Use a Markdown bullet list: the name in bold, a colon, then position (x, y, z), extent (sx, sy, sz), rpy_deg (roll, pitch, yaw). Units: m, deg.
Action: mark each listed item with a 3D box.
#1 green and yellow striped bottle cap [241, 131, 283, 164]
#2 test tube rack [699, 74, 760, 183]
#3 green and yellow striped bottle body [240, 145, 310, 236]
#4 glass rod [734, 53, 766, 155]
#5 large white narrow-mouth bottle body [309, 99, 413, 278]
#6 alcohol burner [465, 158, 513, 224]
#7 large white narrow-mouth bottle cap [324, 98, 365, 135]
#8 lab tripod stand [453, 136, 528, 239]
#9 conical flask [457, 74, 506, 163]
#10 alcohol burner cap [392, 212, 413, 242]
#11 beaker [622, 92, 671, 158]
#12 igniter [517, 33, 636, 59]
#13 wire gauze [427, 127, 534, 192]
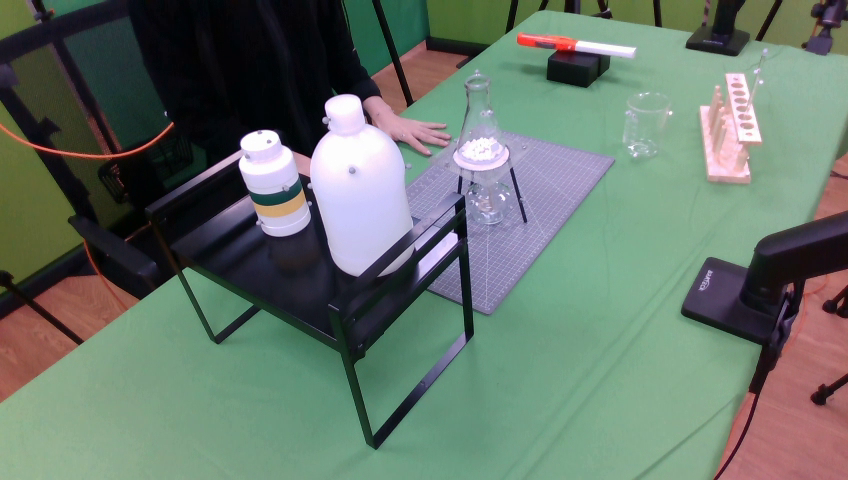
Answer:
- **green and yellow striped bottle cap**: position (-0.187, -0.107, 0.695), extent (0.045, 0.020, 0.045), rpy_deg (-3, 39, 3)
- **test tube rack**: position (0.547, -0.208, 1.095), extent (0.066, 0.085, 0.242), rpy_deg (6, 42, 16)
- **green and yellow striped bottle body**: position (-0.181, -0.069, 0.729), extent (0.063, 0.120, 0.063), rpy_deg (-4, 40, 4)
- **glass rod**: position (0.541, -0.220, 1.007), extent (0.008, 0.201, 0.008), rpy_deg (-5, 45, 6)
- **large white narrow-mouth bottle body**: position (-0.068, -0.057, 0.645), extent (0.102, 0.195, 0.101), rpy_deg (-3, 42, 4)
- **alcohol burner**: position (0.105, -0.085, 0.987), extent (0.078, 0.119, 0.077), rpy_deg (-5, 43, 5)
- **large white narrow-mouth bottle cap**: position (-0.076, -0.120, 0.585), extent (0.038, 0.024, 0.037), rpy_deg (-3, 42, 3)
- **lab tripod stand**: position (0.095, -0.086, 0.974), extent (0.148, 0.132, 0.147), rpy_deg (-4, 43, 4)
- **conical flask**: position (0.082, -0.181, 0.893), extent (0.075, 0.122, 0.075), rpy_deg (-4, 41, 4)
- **alcohol burner cap**: position (-0.037, -0.023, 0.990), extent (0.034, 0.048, 0.033), rpy_deg (-5, 40, 5)
- **beaker**: position (0.402, -0.209, 1.106), extent (0.074, 0.101, 0.083), rpy_deg (-9, 40, -2)
- **igniter**: position (0.336, -0.441, 1.369), extent (0.275, 0.025, 0.057), rpy_deg (17, 41, 24)
- **wire gauze**: position (0.087, -0.130, 0.925), extent (0.124, 0.011, 0.122), rpy_deg (28, 54, 31)
